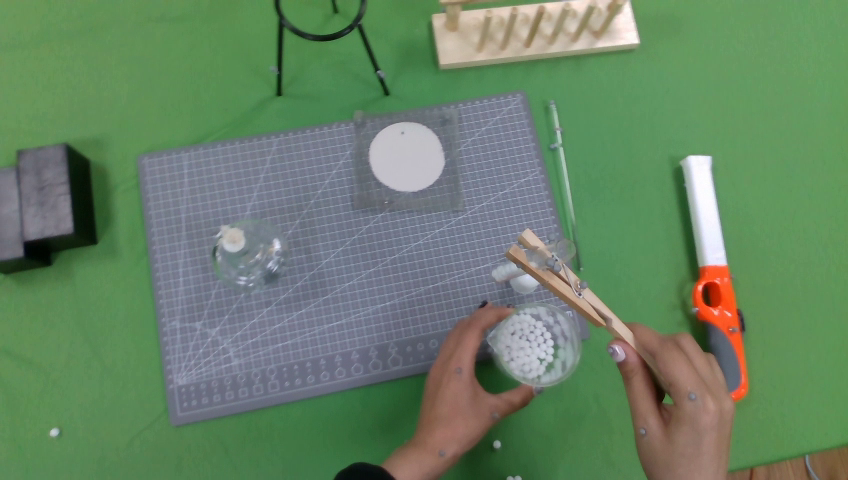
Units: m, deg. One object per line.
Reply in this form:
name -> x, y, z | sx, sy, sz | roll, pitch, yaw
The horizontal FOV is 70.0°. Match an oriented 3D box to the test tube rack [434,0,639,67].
test tube rack -> 0.137, -0.262, 0.698 | 0.242, 0.085, 0.066 | -7, 78, -4

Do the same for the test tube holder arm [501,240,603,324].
test tube holder arm -> 0.093, 0.031, 0.436 | 0.088, 0.015, 0.010 | 37, 77, -2

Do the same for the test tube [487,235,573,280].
test tube -> 0.075, 0.016, 0.457 | 0.017, 0.150, 0.017 | 2, 80, -11

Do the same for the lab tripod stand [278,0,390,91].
lab tripod stand -> -0.103, -0.222, 0.652 | 0.148, 0.132, 0.148 | 1, 80, -3

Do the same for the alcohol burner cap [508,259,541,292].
alcohol burner cap -> 0.111, 0.036, 0.652 | 0.034, 0.048, 0.033 | 1, 78, -2

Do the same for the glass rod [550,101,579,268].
glass rod -> 0.162, -0.065, 0.696 | 0.008, 0.008, 0.199 | -5, 81, -4

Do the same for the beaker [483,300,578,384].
beaker -> 0.095, 0.099, 0.581 | 0.084, 0.100, 0.073 | 5, 79, 2

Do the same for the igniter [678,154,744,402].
igniter -> 0.318, 0.037, 0.674 | 0.057, 0.025, 0.275 | 0, 78, -13

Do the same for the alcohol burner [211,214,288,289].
alcohol burner -> -0.179, 0.008, 0.606 | 0.078, 0.119, 0.077 | 0, 77, 0

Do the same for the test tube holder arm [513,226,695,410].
test tube holder arm -> 0.130, 0.057, 0.438 | 0.178, 0.015, 0.013 | 44, 77, -1

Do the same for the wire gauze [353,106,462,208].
wire gauze -> -0.019, -0.096, 0.691 | 0.125, 0.011, 0.121 | 1, 79, -4
